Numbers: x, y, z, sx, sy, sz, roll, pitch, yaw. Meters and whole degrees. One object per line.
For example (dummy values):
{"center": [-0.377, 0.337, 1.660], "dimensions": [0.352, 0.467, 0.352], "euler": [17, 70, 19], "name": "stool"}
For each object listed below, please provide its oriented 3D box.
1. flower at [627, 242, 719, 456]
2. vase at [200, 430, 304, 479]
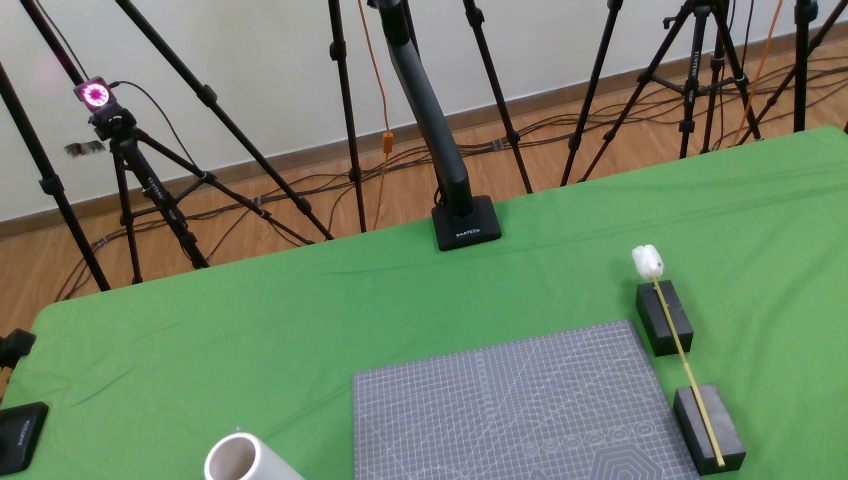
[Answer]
{"center": [0.347, 0.134, 0.849], "dimensions": [0.044, 0.038, 0.358], "euler": [15, 41, -14], "name": "flower"}
{"center": [-0.202, 0.314, 0.756], "dimensions": [0.098, 0.202, 0.097], "euler": [-6, 45, 7], "name": "vase"}
